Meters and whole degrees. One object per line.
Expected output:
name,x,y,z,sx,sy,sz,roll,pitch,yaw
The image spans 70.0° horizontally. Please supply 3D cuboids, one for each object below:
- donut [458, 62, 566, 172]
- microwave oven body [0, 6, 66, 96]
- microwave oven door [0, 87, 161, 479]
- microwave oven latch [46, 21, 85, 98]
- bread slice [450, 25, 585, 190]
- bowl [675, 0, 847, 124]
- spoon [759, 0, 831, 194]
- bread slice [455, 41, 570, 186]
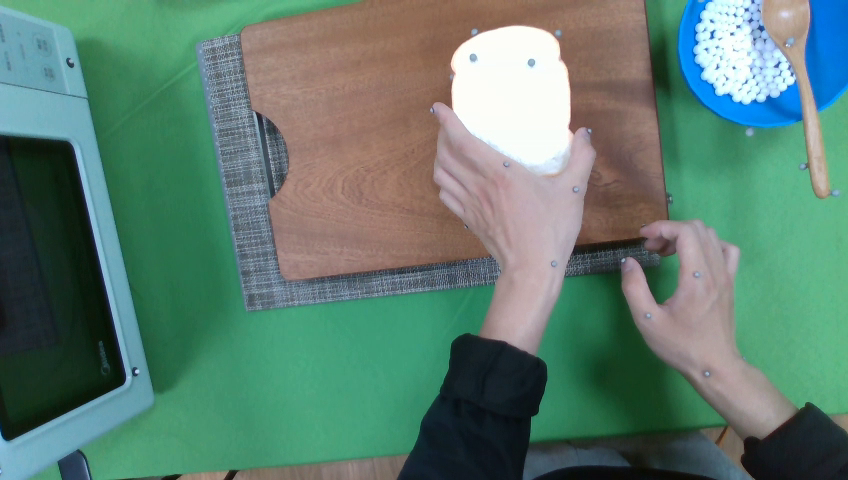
donut,0.080,-0.111,0.554,0.099,0.048,0.099,1,98,9
microwave oven body,-0.524,0.015,0.607,0.325,0.260,0.442,-10,95,10
microwave oven door,-0.376,0.032,0.578,0.039,0.244,0.356,-10,94,11
microwave oven latch,-0.397,-0.193,0.658,0.030,0.029,0.079,-10,95,10
bread slice,0.073,-0.115,0.524,0.107,0.018,0.134,-11,91,12
bowl,0.295,-0.176,0.538,0.151,0.077,0.151,1,97,10
spoon,0.316,-0.132,0.507,0.041,0.022,0.192,-4,75,3
bread slice,0.080,-0.122,0.583,0.105,0.019,0.132,-8,97,9
